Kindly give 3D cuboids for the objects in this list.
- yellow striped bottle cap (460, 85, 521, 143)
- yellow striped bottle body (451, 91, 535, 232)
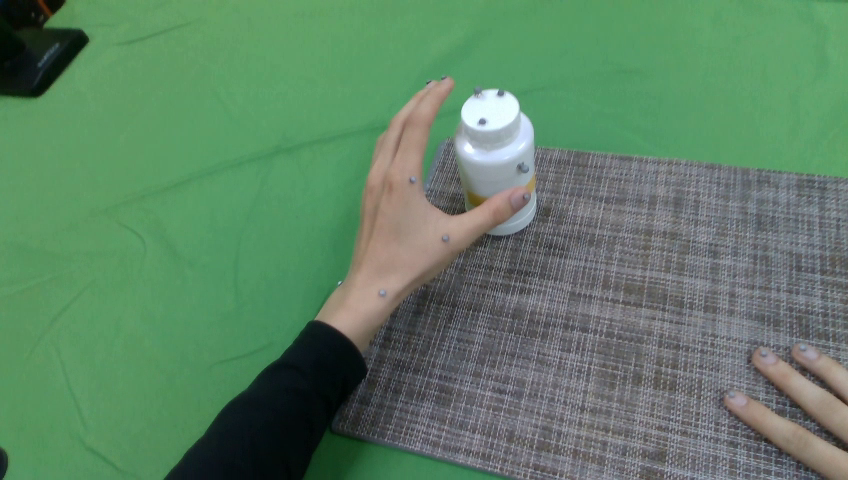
[{"bbox_3d":[0.049,-0.094,0.448,0.044,0.019,0.044,-6,54,9],"label":"yellow striped bottle cap"},{"bbox_3d":[0.057,-0.064,0.490,0.063,0.121,0.062,-5,56,8],"label":"yellow striped bottle body"}]
